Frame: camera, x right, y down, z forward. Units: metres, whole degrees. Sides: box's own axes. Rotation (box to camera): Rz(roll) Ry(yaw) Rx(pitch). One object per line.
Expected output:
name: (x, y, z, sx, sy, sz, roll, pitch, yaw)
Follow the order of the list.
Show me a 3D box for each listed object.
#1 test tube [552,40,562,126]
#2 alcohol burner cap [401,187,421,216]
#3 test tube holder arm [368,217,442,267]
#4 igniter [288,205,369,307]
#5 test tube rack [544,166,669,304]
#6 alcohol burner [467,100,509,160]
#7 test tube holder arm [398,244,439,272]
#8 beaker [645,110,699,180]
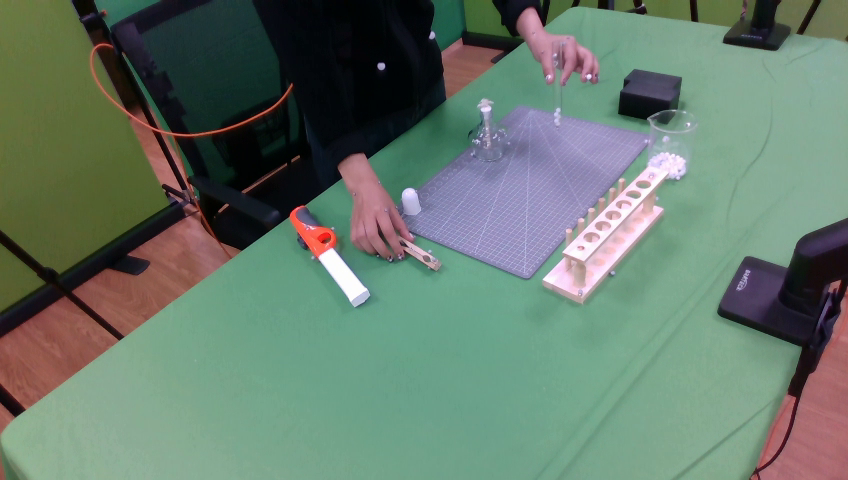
test tube: (0.228, -0.265, 1.034, 0.017, 0.151, 0.017, -6, 34, 5)
alcohol burner cap: (-0.025, -0.070, 1.048, 0.034, 0.048, 0.033, -5, 40, 4)
test tube holder arm: (-0.035, 0.001, 0.985, 0.177, 0.015, 0.013, 34, 86, 40)
igniter: (-0.163, 0.018, 0.986, 0.057, 0.025, 0.274, -33, 45, -12)
test tube rack: (0.274, -0.018, 0.903, 0.066, 0.085, 0.243, 26, 51, 35)
alcohol burner: (0.118, -0.210, 1.131, 0.078, 0.119, 0.077, -6, 42, 6)
test tube holder arm: (-0.009, 0.025, 0.956, 0.087, 0.015, 0.010, 35, 87, 40)
beaker: (0.417, -0.160, 1.032, 0.083, 0.101, 0.074, 25, 51, 35)
